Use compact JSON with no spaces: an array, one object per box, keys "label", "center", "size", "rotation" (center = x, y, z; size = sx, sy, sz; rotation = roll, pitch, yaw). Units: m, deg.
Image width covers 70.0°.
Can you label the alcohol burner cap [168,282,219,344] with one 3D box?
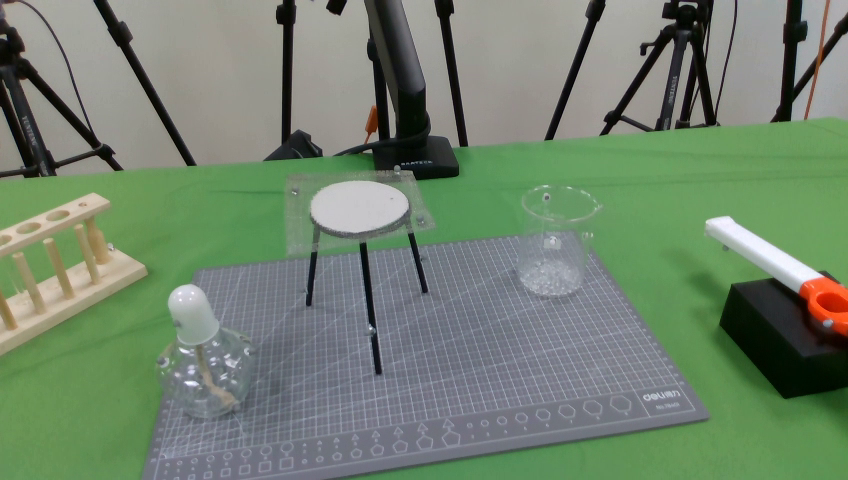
[{"label":"alcohol burner cap","center":[-0.183,0.054,0.473],"size":[0.034,0.048,0.033],"rotation":[-1,38,1]}]

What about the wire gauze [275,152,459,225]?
[{"label":"wire gauze","center":[-0.051,-0.045,0.514],"size":[0.125,0.011,0.120],"rotation":[-12,31,-29]}]

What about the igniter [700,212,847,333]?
[{"label":"igniter","center":[0.350,0.044,0.538],"size":[0.057,0.025,0.273],"rotation":[-11,32,-14]}]

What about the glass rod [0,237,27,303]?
[{"label":"glass rod","center":[-0.403,-0.017,0.560],"size":[0.008,0.201,0.008],"rotation":[3,36,-2]}]

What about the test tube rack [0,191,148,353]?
[{"label":"test tube rack","center":[-0.406,0.045,0.587],"size":[0.066,0.086,0.242],"rotation":[22,40,30]}]

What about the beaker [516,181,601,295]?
[{"label":"beaker","center":[0.135,-0.001,0.624],"size":[0.084,0.101,0.073],"rotation":[-2,34,-1]}]

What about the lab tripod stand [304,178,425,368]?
[{"label":"lab tripod stand","center":[-0.054,0.023,0.563],"size":[0.148,0.132,0.147],"rotation":[1,35,0]}]

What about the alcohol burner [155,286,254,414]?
[{"label":"alcohol burner","center":[-0.181,0.084,0.493],"size":[0.078,0.120,0.077],"rotation":[1,33,0]}]
